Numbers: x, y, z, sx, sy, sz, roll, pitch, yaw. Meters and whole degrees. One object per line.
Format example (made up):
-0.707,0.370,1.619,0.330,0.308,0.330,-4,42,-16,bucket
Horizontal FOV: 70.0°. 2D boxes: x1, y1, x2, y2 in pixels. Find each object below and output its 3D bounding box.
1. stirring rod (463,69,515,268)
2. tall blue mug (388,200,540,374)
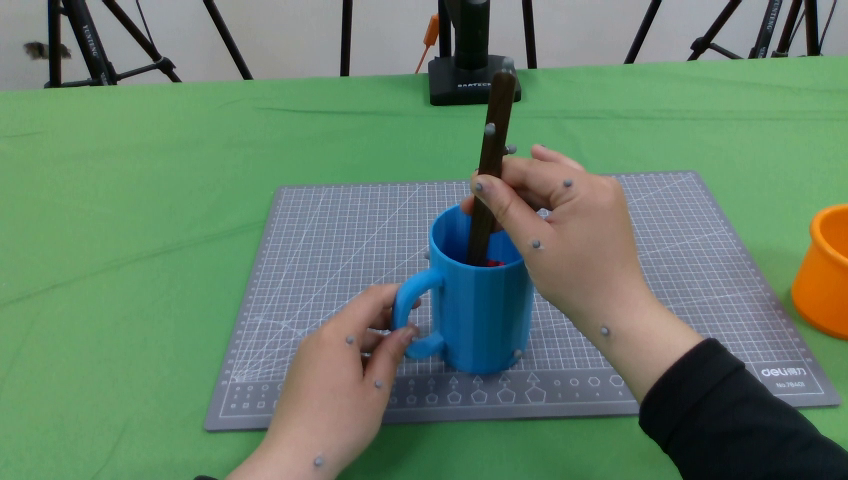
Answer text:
0.036,-0.020,0.377,0.014,0.177,0.006,11,37,8,stirring rod
0.033,0.044,0.436,0.077,0.109,0.107,20,45,23,tall blue mug
